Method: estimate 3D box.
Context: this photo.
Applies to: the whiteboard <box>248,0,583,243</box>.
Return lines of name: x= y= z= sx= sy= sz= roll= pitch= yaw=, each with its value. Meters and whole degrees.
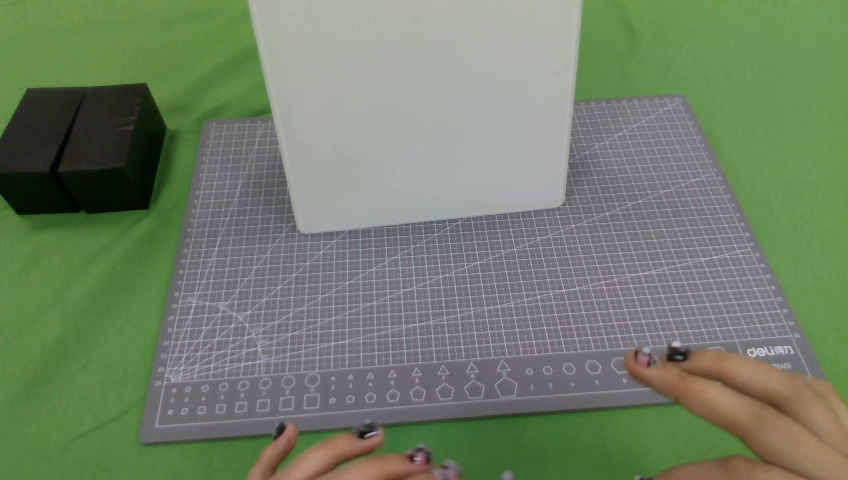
whiteboard: x=-0.007 y=-0.173 z=0.454 sx=0.217 sy=0.308 sz=0.142 roll=-5 pitch=34 yaw=-3
